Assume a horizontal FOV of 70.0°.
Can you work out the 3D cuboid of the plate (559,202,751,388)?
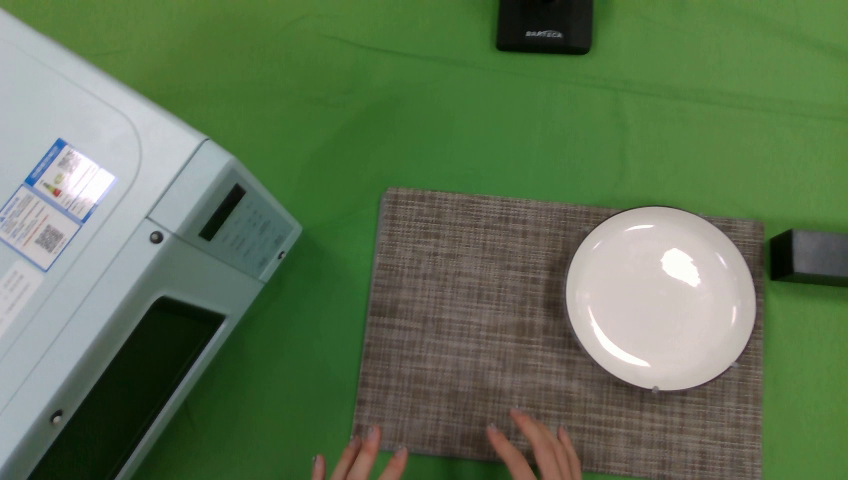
[{"bbox_3d":[0.255,0.061,0.683,0.207,0.039,0.206,0,78,2],"label":"plate"}]

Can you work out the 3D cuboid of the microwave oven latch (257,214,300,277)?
[{"bbox_3d":[-0.175,0.003,0.699,0.030,0.029,0.079,33,82,9],"label":"microwave oven latch"}]

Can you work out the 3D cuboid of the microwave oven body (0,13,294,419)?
[{"bbox_3d":[-0.400,0.053,0.599,0.325,0.261,0.441,31,81,8],"label":"microwave oven body"}]

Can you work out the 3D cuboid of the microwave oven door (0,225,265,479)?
[{"bbox_3d":[-0.298,0.161,0.566,0.039,0.245,0.355,31,81,10],"label":"microwave oven door"}]
